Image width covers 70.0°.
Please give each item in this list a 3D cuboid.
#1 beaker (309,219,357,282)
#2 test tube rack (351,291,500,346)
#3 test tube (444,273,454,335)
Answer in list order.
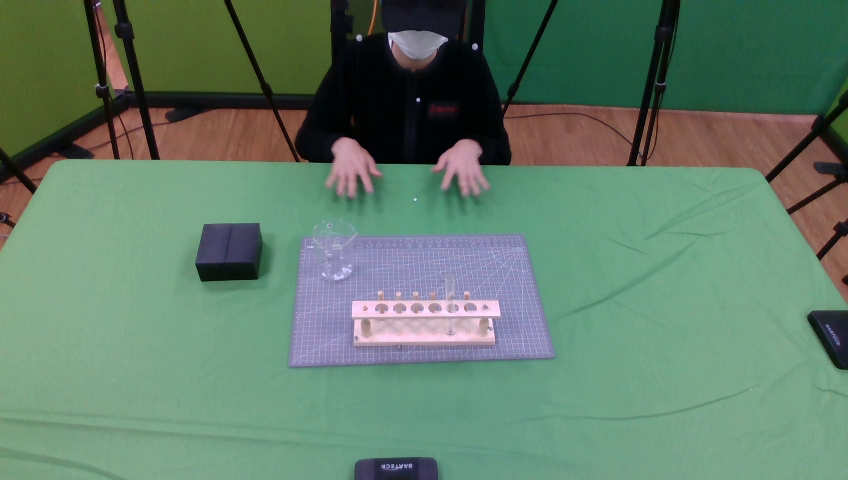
[{"bbox_3d":[-0.164,0.021,1.107,0.084,0.101,0.073,-5,47,-11],"label":"beaker"},{"bbox_3d":[0.001,0.129,1.026,0.242,0.085,0.066,0,46,-4],"label":"test tube rack"},{"bbox_3d":[0.042,0.107,0.981,0.017,0.151,0.017,-1,47,2],"label":"test tube"}]
